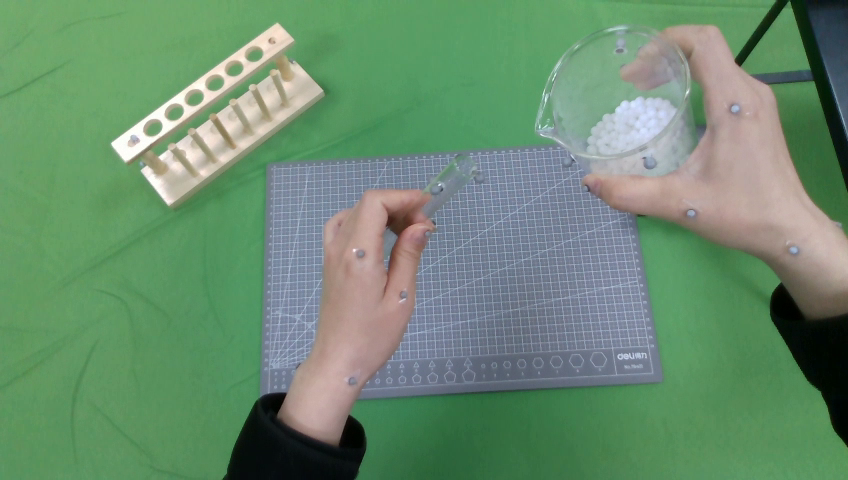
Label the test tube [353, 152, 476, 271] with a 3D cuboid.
[{"bbox_3d":[-0.012,-0.013,0.397,0.017,0.150,0.017,15,58,-25],"label":"test tube"}]

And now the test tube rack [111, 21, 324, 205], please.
[{"bbox_3d":[-0.246,-0.155,0.746,0.242,0.086,0.066,-40,75,-10],"label":"test tube rack"}]

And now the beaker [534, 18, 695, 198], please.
[{"bbox_3d":[0.117,-0.068,0.358,0.084,0.101,0.073,-21,70,22],"label":"beaker"}]
